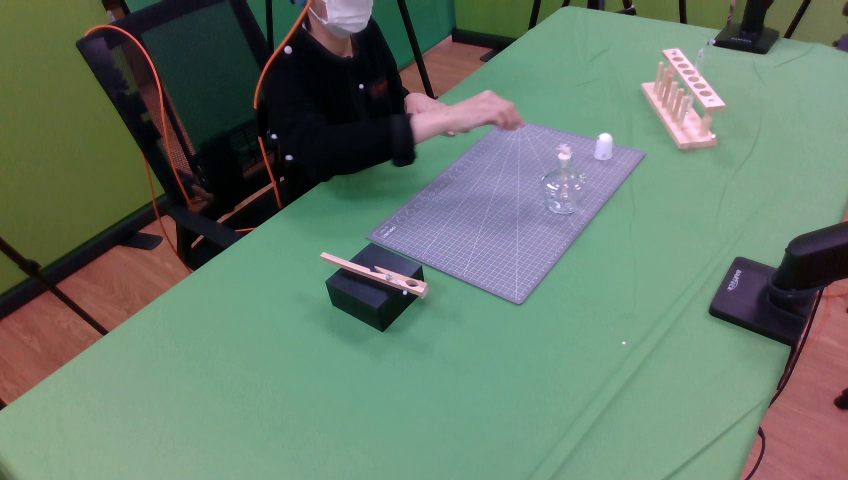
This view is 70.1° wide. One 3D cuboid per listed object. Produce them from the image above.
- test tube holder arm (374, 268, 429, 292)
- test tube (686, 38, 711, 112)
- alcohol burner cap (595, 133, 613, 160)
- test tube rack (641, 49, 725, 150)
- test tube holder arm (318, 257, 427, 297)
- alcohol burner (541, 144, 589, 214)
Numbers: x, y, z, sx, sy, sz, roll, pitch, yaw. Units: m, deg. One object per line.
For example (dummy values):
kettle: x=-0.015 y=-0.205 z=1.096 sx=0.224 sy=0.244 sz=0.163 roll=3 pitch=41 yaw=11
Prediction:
test tube holder arm: x=-0.034 y=0.056 z=0.840 sx=0.087 sy=0.015 sz=0.010 roll=14 pitch=49 yaw=25
test tube: x=0.508 y=-0.305 z=1.128 sx=0.017 sy=0.151 sz=0.017 roll=-2 pitch=46 yaw=3
alcohol burner cap: x=0.330 y=-0.172 z=1.104 sx=0.034 sy=0.048 sz=0.033 roll=-5 pitch=41 yaw=5
test tube rack: x=0.495 y=-0.279 z=1.175 sx=0.067 sy=0.085 sz=0.241 roll=-5 pitch=41 yaw=3
test tube holder arm: x=-0.076 y=0.050 z=0.855 sx=0.177 sy=0.015 sz=0.013 roll=13 pitch=48 yaw=24
alcohol burner: x=0.229 y=-0.102 z=0.983 sx=0.078 sy=0.119 sz=0.077 roll=-6 pitch=41 yaw=5
